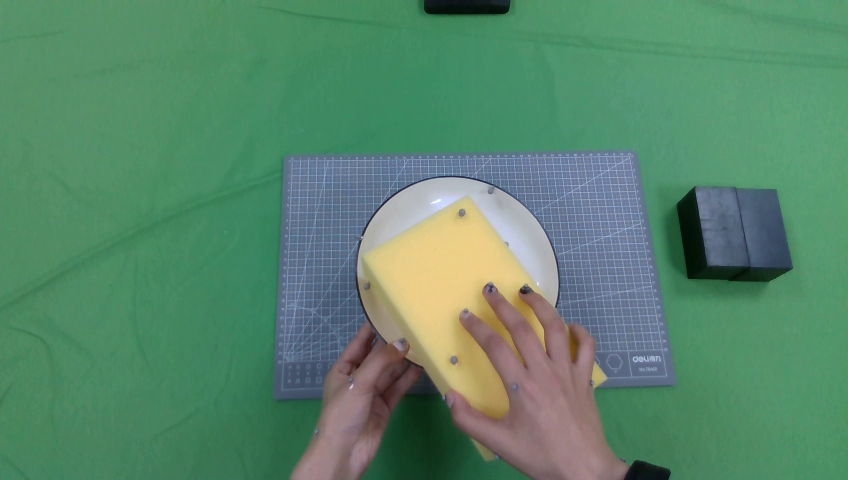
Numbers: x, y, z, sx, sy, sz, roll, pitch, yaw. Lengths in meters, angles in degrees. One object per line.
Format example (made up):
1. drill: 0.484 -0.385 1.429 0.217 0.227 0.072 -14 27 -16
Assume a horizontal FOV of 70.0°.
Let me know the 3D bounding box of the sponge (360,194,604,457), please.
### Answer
1. sponge: 0.047 0.074 0.550 0.118 0.061 0.205 -32 73 -16

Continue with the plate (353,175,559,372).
1. plate: 0.032 0.036 0.614 0.210 0.038 0.208 3 72 -9
